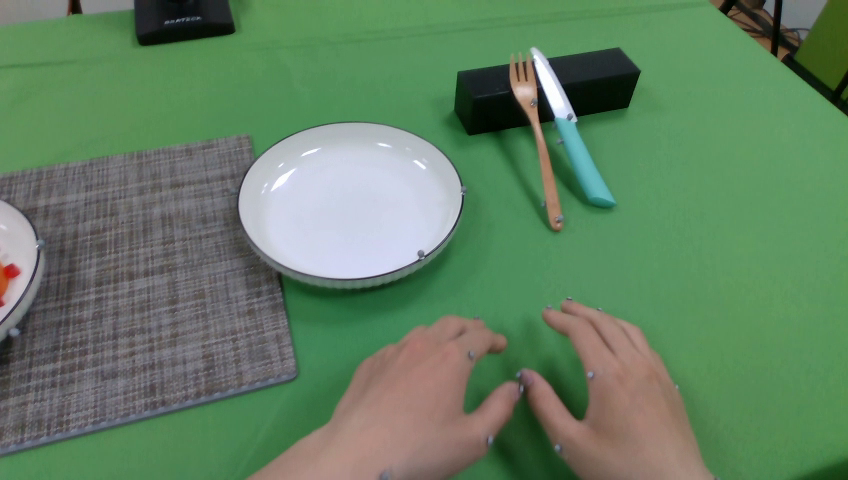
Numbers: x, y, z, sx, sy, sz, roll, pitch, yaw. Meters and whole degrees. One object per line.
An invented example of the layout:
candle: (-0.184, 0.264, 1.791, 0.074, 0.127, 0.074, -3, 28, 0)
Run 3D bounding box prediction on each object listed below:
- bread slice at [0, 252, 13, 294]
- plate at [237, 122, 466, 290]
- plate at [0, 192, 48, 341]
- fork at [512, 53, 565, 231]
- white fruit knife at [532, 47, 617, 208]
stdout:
bread slice: (-0.405, 0.044, 0.480, 0.104, 0.019, 0.131, 27, 54, 17)
plate: (-0.066, -0.033, 0.572, 0.208, 0.039, 0.205, 2, 49, -2)
plate: (-0.410, 0.041, 0.480, 0.209, 0.038, 0.207, 2, 49, -2)
fork: (0.118, -0.105, 0.619, 0.028, 0.019, 0.205, -3, 67, -13)
white fruit knife: (0.152, -0.123, 0.640, 0.027, 0.016, 0.205, -11, 68, -16)
